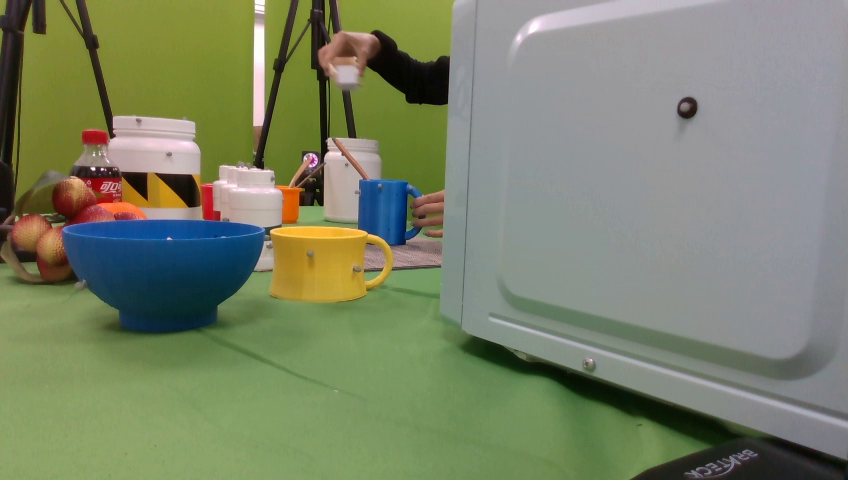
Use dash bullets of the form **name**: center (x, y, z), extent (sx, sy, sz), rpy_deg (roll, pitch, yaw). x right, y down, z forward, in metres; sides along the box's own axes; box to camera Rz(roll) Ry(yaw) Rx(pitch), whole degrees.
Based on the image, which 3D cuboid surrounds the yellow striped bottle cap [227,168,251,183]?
- **yellow striped bottle cap**: center (-0.243, -0.087, 0.818), extent (0.044, 0.018, 0.044), rpy_deg (3, 6, 0)

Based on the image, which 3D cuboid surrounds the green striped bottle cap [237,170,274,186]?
- **green striped bottle cap**: center (-0.205, -0.075, 0.737), extent (0.044, 0.020, 0.044), rpy_deg (2, 6, 0)

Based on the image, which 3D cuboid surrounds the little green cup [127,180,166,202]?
- **little green cup**: center (-0.485, -0.087, 1.062), extent (0.061, 0.038, 0.061), rpy_deg (0, 7, 0)

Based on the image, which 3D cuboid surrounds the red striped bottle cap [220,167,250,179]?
- **red striped bottle cap**: center (-0.281, -0.100, 0.901), extent (0.044, 0.017, 0.044), rpy_deg (0, 5, 0)

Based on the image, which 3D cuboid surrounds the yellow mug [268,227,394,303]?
- **yellow mug**: center (-0.094, 0.023, 0.629), extent (0.131, 0.064, 0.099), rpy_deg (0, 6, -22)

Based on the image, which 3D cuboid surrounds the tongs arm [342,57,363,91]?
- **tongs arm**: center (-0.148, -0.340, 1.223), extent (0.051, 0.026, 0.384), rpy_deg (-3, 22, -4)

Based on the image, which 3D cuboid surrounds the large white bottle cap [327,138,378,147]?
- **large white bottle cap**: center (-0.160, -0.218, 1.357), extent (0.115, 0.018, 0.115), rpy_deg (2, 8, 0)

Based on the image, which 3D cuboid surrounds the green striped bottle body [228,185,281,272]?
- **green striped bottle body**: center (-0.208, -0.023, 0.745), extent (0.063, 0.119, 0.063), rpy_deg (2, 7, 0)

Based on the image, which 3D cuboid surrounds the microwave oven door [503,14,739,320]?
- **microwave oven door**: center (0.218, -0.065, 0.600), extent (0.358, 0.243, 0.039), rpy_deg (-4, 10, -41)

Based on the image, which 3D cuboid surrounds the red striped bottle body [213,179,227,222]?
- **red striped bottle body**: center (-0.284, -0.048, 0.909), extent (0.063, 0.119, 0.063), rpy_deg (3, 9, 0)

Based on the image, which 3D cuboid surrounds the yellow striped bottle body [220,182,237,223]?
- **yellow striped bottle body**: center (-0.245, -0.036, 0.825), extent (0.063, 0.120, 0.063), rpy_deg (3, 8, 0)

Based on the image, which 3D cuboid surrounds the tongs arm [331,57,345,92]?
- **tongs arm**: center (-0.170, -0.339, 1.219), extent (0.028, 0.028, 0.386), rpy_deg (-8, 23, -7)

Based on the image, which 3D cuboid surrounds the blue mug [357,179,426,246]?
- **blue mug**: center (-0.054, -0.046, 1.006), extent (0.116, 0.106, 0.082), rpy_deg (4, 8, 12)

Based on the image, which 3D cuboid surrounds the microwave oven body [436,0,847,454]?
- **microwave oven body**: center (0.279, -0.040, 0.464), extent (0.444, 0.260, 0.324), rpy_deg (-3, 9, -41)

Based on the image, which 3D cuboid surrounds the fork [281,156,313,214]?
- **fork**: center (-0.289, -0.116, 1.320), extent (0.028, 0.019, 0.207), rpy_deg (1, 49, 25)

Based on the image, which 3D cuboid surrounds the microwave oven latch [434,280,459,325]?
- **microwave oven latch**: center (0.044, 0.045, 0.470), extent (0.079, 0.029, 0.030), rpy_deg (-2, 8, -39)

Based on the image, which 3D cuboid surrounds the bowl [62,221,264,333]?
- **bowl**: center (-0.209, 0.029, 0.496), extent (0.151, 0.077, 0.151), rpy_deg (2, 7, 0)

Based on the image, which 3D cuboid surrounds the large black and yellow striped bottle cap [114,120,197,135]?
- **large black and yellow striped bottle cap**: center (-0.407, -0.171, 0.920), extent (0.115, 0.019, 0.115), rpy_deg (2, 9, 0)

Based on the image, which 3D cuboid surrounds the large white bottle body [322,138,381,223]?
- **large white bottle body**: center (-0.163, -0.135, 1.369), extent (0.131, 0.184, 0.130), rpy_deg (2, 7, 0)

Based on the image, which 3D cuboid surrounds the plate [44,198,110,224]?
- **plate**: center (-0.617, -0.056, 1.179), extent (0.209, 0.038, 0.209), rpy_deg (3, 7, 0)

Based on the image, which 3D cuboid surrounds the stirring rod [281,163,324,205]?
- **stirring rod**: center (-0.278, -0.105, 1.293), extent (0.176, 0.006, 0.014), rpy_deg (-47, 25, -18)

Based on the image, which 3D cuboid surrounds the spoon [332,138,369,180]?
- **spoon**: center (-0.096, -0.093, 1.013), extent (0.021, 0.193, 0.042), rpy_deg (-32, 0, 14)

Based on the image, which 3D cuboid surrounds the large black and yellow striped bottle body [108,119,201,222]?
- **large black and yellow striped bottle body**: center (-0.412, -0.088, 0.930), extent (0.131, 0.184, 0.130), rpy_deg (3, 7, 0)
